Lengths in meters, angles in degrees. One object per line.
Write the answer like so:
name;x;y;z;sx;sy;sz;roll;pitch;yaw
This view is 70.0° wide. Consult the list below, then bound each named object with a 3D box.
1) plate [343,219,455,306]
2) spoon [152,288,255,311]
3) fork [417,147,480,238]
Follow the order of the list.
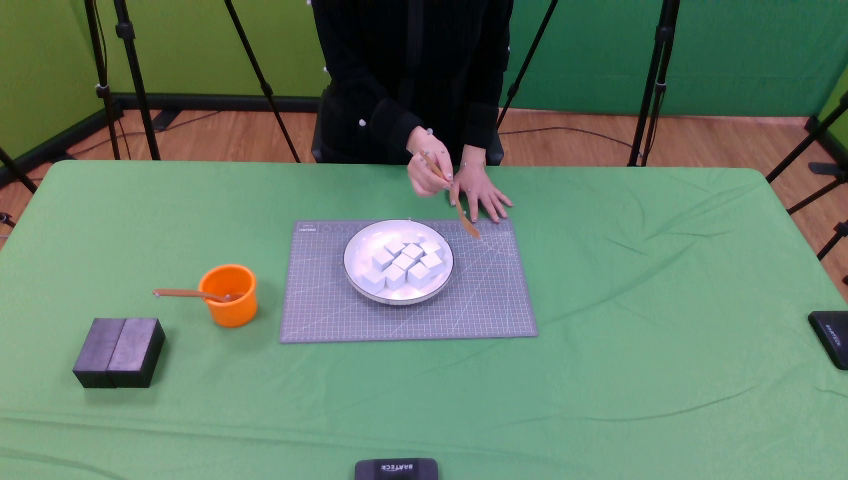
plate;-0.047;0.045;1.136;0.208;0.039;0.206;2;46;-2
spoon;-0.356;0.092;0.992;0.021;0.195;0.041;-46;59;13
fork;0.045;-0.078;1.039;0.018;0.208;0.028;-18;35;23
